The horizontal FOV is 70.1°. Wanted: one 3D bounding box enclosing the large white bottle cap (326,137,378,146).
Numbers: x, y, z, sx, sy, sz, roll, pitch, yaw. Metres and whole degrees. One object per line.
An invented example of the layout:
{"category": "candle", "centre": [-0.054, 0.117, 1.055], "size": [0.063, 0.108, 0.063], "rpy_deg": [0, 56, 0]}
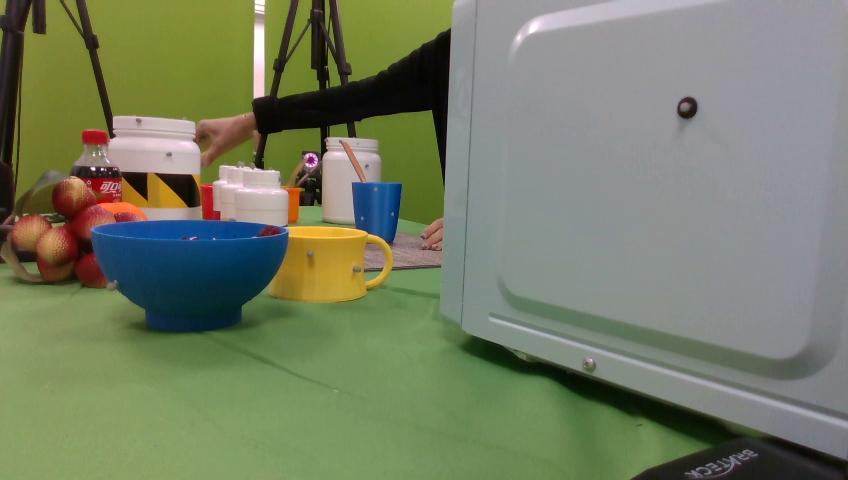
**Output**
{"category": "large white bottle cap", "centre": [-0.158, -0.214, 1.327], "size": [0.115, 0.018, 0.115], "rpy_deg": [2, 8, 0]}

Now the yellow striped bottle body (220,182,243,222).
{"category": "yellow striped bottle body", "centre": [-0.245, -0.036, 0.825], "size": [0.063, 0.120, 0.063], "rpy_deg": [3, 8, 0]}

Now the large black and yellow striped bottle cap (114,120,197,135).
{"category": "large black and yellow striped bottle cap", "centre": [-0.407, -0.171, 0.920], "size": [0.115, 0.019, 0.115], "rpy_deg": [2, 9, 0]}

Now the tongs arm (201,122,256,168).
{"category": "tongs arm", "centre": [-0.488, -0.166, 1.279], "size": [0.050, 0.026, 0.386], "rpy_deg": [14, 38, 28]}

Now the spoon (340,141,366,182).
{"category": "spoon", "centre": [-0.103, -0.089, 1.028], "size": [0.021, 0.193, 0.042], "rpy_deg": [-33, -19, 36]}

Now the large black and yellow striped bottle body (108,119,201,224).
{"category": "large black and yellow striped bottle body", "centre": [-0.412, -0.088, 0.930], "size": [0.131, 0.184, 0.130], "rpy_deg": [3, 7, 0]}

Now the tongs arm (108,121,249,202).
{"category": "tongs arm", "centre": [-0.508, -0.170, 1.288], "size": [0.028, 0.028, 0.388], "rpy_deg": [8, 35, 27]}

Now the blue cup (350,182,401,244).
{"category": "blue cup", "centre": [-0.080, -0.046, 1.012], "size": [0.093, 0.100, 0.092], "rpy_deg": [1, 7, 0]}

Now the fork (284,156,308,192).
{"category": "fork", "centre": [-0.295, -0.117, 1.322], "size": [0.028, 0.019, 0.207], "rpy_deg": [-2, 49, 24]}

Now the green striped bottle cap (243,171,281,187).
{"category": "green striped bottle cap", "centre": [-0.198, -0.074, 0.736], "size": [0.044, 0.020, 0.044], "rpy_deg": [1, 7, 0]}

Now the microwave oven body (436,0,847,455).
{"category": "microwave oven body", "centre": [0.279, -0.040, 0.465], "size": [0.444, 0.260, 0.324], "rpy_deg": [-3, 9, -41]}

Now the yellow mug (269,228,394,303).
{"category": "yellow mug", "centre": [-0.094, 0.023, 0.629], "size": [0.131, 0.064, 0.099], "rpy_deg": [0, 6, -22]}

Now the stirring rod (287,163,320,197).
{"category": "stirring rod", "centre": [-0.283, -0.107, 1.298], "size": [0.176, 0.006, 0.014], "rpy_deg": [-49, 31, -23]}

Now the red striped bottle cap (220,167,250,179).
{"category": "red striped bottle cap", "centre": [-0.281, -0.100, 0.901], "size": [0.044, 0.017, 0.044], "rpy_deg": [0, 5, 0]}

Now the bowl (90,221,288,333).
{"category": "bowl", "centre": [-0.190, 0.029, 0.500], "size": [0.151, 0.077, 0.151], "rpy_deg": [3, 7, 0]}

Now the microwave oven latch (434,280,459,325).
{"category": "microwave oven latch", "centre": [0.044, 0.045, 0.470], "size": [0.079, 0.029, 0.030], "rpy_deg": [-2, 8, -39]}

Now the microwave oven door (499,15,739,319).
{"category": "microwave oven door", "centre": [0.216, -0.065, 0.602], "size": [0.358, 0.243, 0.039], "rpy_deg": [-4, 11, -41]}

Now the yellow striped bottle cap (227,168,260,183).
{"category": "yellow striped bottle cap", "centre": [-0.243, -0.087, 0.818], "size": [0.044, 0.018, 0.044], "rpy_deg": [3, 6, 0]}

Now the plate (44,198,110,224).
{"category": "plate", "centre": [-0.617, -0.056, 1.179], "size": [0.209, 0.038, 0.209], "rpy_deg": [3, 7, 0]}

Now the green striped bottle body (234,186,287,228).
{"category": "green striped bottle body", "centre": [-0.200, -0.023, 0.743], "size": [0.063, 0.119, 0.063], "rpy_deg": [2, 7, 0]}

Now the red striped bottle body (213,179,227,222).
{"category": "red striped bottle body", "centre": [-0.284, -0.048, 0.909], "size": [0.063, 0.119, 0.063], "rpy_deg": [3, 12, 0]}

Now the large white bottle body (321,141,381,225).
{"category": "large white bottle body", "centre": [-0.162, -0.131, 1.341], "size": [0.131, 0.184, 0.130], "rpy_deg": [2, 8, 0]}

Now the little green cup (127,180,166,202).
{"category": "little green cup", "centre": [-0.485, -0.086, 1.061], "size": [0.061, 0.038, 0.061], "rpy_deg": [1, 7, 0]}
